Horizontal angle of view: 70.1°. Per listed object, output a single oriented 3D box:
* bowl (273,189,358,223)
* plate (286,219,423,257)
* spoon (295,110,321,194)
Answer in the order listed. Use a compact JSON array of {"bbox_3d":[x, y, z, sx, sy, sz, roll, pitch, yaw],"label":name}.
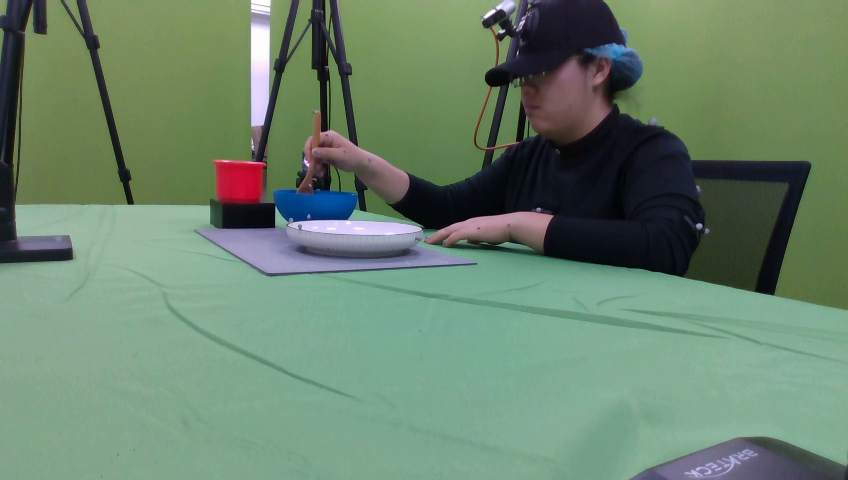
[{"bbox_3d":[-0.194,-0.049,1.083,0.151,0.077,0.151,2,7,0],"label":"bowl"},{"bbox_3d":[-0.105,-0.003,0.922,0.208,0.039,0.207,3,7,0],"label":"plate"},{"bbox_3d":[-0.207,-0.140,1.106,0.042,0.193,0.021,7,11,-32],"label":"spoon"}]
